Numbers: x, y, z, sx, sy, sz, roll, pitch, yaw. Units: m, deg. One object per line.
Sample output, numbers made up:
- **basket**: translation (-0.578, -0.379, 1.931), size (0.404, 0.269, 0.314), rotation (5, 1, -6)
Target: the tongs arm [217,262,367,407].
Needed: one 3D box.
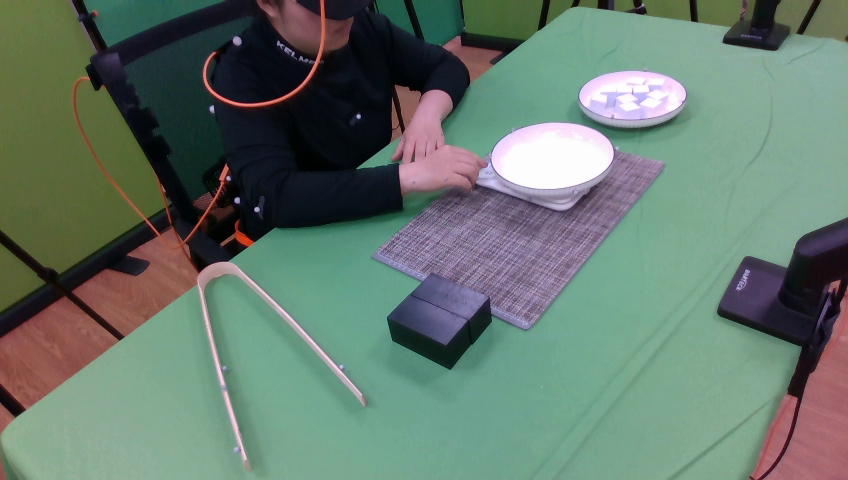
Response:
- **tongs arm**: translation (-0.200, 0.122, 0.871), size (0.028, 0.028, 0.384), rotation (-36, 46, -24)

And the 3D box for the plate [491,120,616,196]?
- **plate**: translation (0.221, -0.137, 1.038), size (0.207, 0.039, 0.206), rotation (-6, 41, 5)

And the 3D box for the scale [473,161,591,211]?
- **scale**: translation (0.202, -0.121, 1.074), size (0.199, 0.032, 0.149), rotation (23, 49, 33)

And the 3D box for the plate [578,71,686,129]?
- **plate**: translation (0.416, -0.279, 1.222), size (0.209, 0.038, 0.208), rotation (-5, 41, 5)

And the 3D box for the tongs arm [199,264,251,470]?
- **tongs arm**: translation (-0.269, 0.154, 0.841), size (0.051, 0.026, 0.381), rotation (-23, 41, -17)
